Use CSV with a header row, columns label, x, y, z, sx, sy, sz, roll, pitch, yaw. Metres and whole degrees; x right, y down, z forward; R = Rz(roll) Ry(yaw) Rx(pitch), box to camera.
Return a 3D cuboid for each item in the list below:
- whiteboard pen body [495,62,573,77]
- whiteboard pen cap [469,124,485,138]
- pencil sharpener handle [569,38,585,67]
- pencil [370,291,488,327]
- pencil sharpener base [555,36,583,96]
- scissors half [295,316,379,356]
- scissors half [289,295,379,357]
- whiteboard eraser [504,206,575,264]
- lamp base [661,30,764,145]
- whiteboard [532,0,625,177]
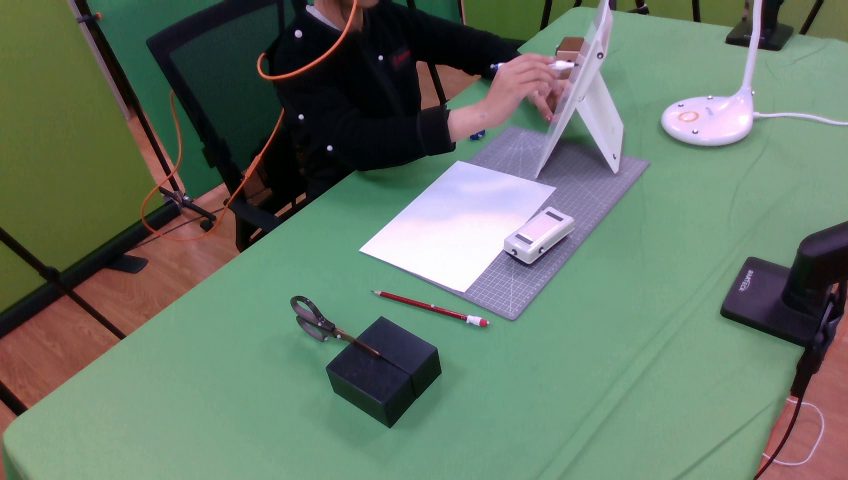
label,x,y,z,sx,sy,sz,roll,pitch,yaw
whiteboard pen body,0.193,-0.295,1.047,0.141,0.017,0.017,5,41,0
whiteboard pen cap,0.106,-0.220,1.224,0.033,0.018,0.018,-38,48,-24
pencil sharpener handle,0.333,-0.413,1.317,0.036,0.068,0.030,19,47,13
pencil,0.003,0.097,0.877,0.193,0.012,0.012,13,45,26
pencil sharpener base,0.318,-0.371,1.290,0.061,0.107,0.076,10,44,22
scissors half,-0.119,0.131,0.813,0.173,0.040,0.013,9,34,45
scissors half,-0.122,0.114,0.803,0.174,0.040,0.013,26,50,32
whiteboard eraser,0.179,-0.006,0.936,0.113,0.042,0.055,-35,46,-27
lamp base,0.535,-0.287,1.096,0.179,0.181,0.159,-10,40,-4
whiteboard,0.320,-0.258,1.050,0.144,0.306,0.217,21,45,5
